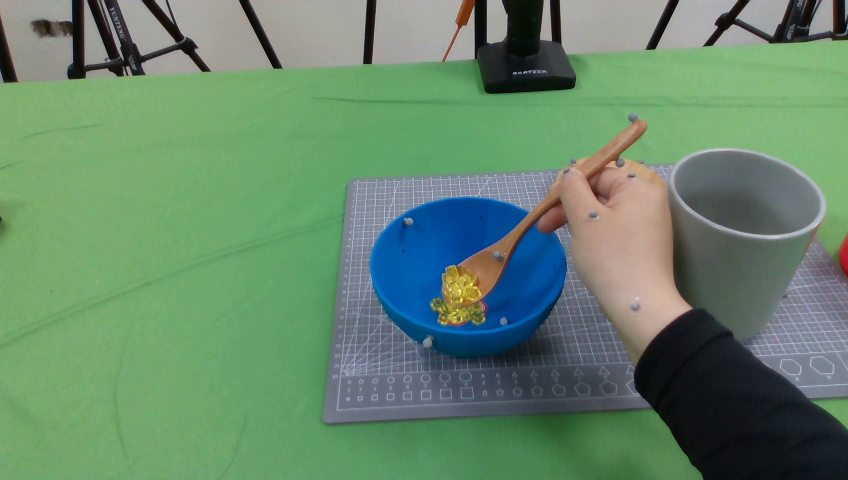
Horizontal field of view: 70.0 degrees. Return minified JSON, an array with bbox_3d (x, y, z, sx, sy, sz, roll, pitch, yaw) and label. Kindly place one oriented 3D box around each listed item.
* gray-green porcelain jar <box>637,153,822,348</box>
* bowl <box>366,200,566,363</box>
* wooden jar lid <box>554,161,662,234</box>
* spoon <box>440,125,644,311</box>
[{"bbox_3d":[0.228,0.013,0.472,0.106,0.127,0.105,-2,42,2],"label":"gray-green porcelain jar"},{"bbox_3d":[0.033,0.044,0.483,0.151,0.077,0.150,-1,43,2],"label":"bowl"},{"bbox_3d":[0.186,-0.043,0.616,0.108,0.021,0.107,-2,41,2],"label":"wooden jar lid"},{"bbox_3d":[0.082,-0.013,0.443,0.022,0.194,0.041,25,30,-38],"label":"spoon"}]
